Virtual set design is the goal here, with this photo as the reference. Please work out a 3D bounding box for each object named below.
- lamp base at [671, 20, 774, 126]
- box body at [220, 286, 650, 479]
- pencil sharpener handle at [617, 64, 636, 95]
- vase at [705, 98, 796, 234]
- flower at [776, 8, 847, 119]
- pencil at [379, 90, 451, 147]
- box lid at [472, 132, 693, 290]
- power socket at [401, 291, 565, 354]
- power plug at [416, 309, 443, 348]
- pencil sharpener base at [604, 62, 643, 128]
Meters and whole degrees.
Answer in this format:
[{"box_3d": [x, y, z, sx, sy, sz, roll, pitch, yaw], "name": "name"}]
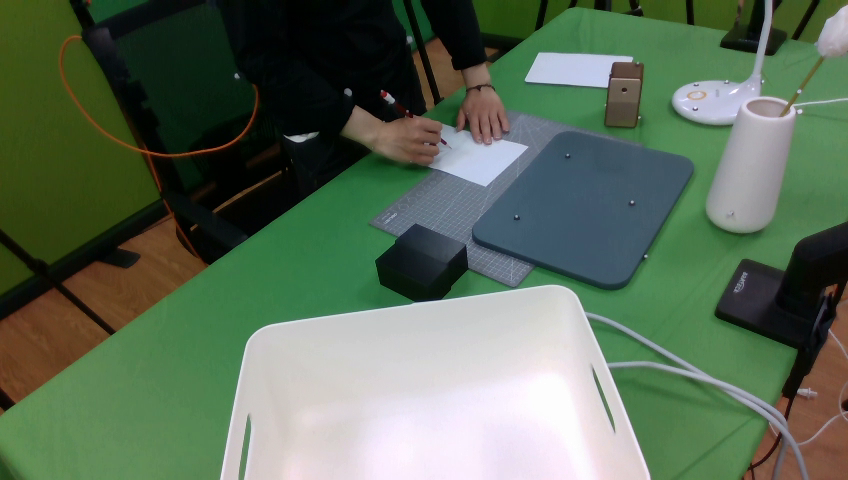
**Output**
[{"box_3d": [0.581, -0.332, 1.154, 0.179, 0.181, 0.160, 2, 41, 7], "name": "lamp base"}, {"box_3d": [0.006, 0.210, 0.618, 0.364, 0.161, 0.252, -8, 40, -1], "name": "box body"}, {"box_3d": [0.401, -0.326, 1.211, 0.036, 0.068, 0.030, 16, 44, 8], "name": "pencil sharpener handle"}, {"box_3d": [0.480, -0.104, 0.889, 0.098, 0.201, 0.097, -4, 42, 4], "name": "vase"}, {"box_3d": [0.476, -0.156, 0.822, 0.038, 0.362, 0.044, 8, 58, 2], "name": "flower"}, {"box_3d": [-0.012, -0.224, 1.133, 0.012, 0.196, 0.012, -25, 50, 34], "name": "pencil"}, {"box_3d": [0.273, -0.068, 1.020, 0.261, 0.015, 0.372, 20, 47, 28], "name": "box lid"}, {"box_3d": [0.080, 0.111, 0.823, 0.227, 0.033, 0.072, -5, 41, 1], "name": "power socket"}, {"box_3d": [0.004, 0.121, 0.787, 0.035, 0.053, 0.072, 2, 46, 8], "name": "power plug"}, {"box_3d": [0.390, -0.284, 1.182, 0.061, 0.107, 0.076, 7, 42, 17], "name": "pencil sharpener base"}]
